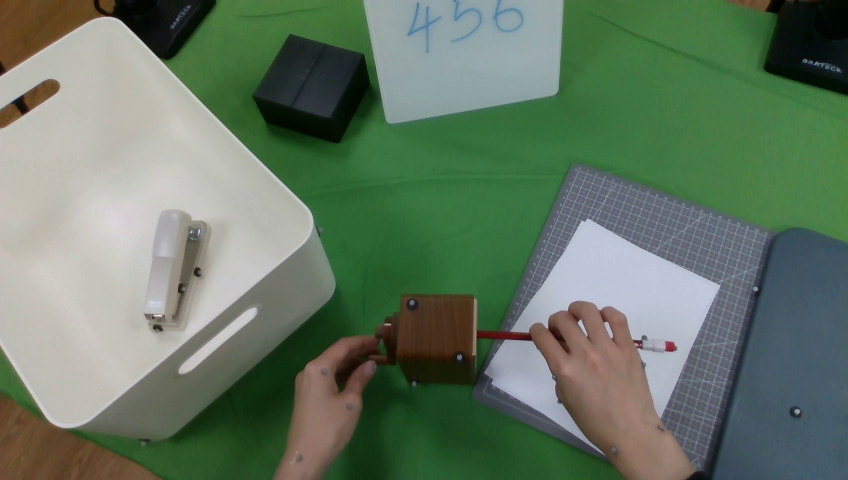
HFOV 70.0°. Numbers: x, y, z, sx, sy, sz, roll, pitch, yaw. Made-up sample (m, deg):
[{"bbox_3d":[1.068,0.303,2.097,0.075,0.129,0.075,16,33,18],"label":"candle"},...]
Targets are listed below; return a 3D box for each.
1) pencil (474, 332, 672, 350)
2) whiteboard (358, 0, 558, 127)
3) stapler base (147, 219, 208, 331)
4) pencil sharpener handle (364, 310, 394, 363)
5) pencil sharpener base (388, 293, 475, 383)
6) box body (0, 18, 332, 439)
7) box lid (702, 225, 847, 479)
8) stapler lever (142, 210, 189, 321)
[{"bbox_3d":[0.123,0.087,0.532,0.194,0.012,0.012,3,65,-4],"label":"pencil"},{"bbox_3d":[0.030,-0.312,0.685,0.217,0.308,0.142,-10,46,-1],"label":"whiteboard"},{"bbox_3d":[-0.270,0.033,0.658,0.041,0.024,0.129,2,67,6],"label":"stapler base"},{"bbox_3d":[-0.043,0.093,0.563,0.030,0.068,0.035,1,45,4],"label":"pencil sharpener handle"},{"bbox_3d":[0.009,0.095,0.574,0.076,0.108,0.061,1,66,4],"label":"pencil sharpener base"},{"bbox_3d":[-0.296,-0.012,0.610,0.254,0.161,0.361,-42,70,-15],"label":"box body"},{"bbox_3d":[0.422,0.173,0.568,0.262,0.015,0.370,22,69,11],"label":"box lid"},{"bbox_3d":[-0.271,0.024,0.633,0.027,0.040,0.117,2,68,7],"label":"stapler lever"}]
